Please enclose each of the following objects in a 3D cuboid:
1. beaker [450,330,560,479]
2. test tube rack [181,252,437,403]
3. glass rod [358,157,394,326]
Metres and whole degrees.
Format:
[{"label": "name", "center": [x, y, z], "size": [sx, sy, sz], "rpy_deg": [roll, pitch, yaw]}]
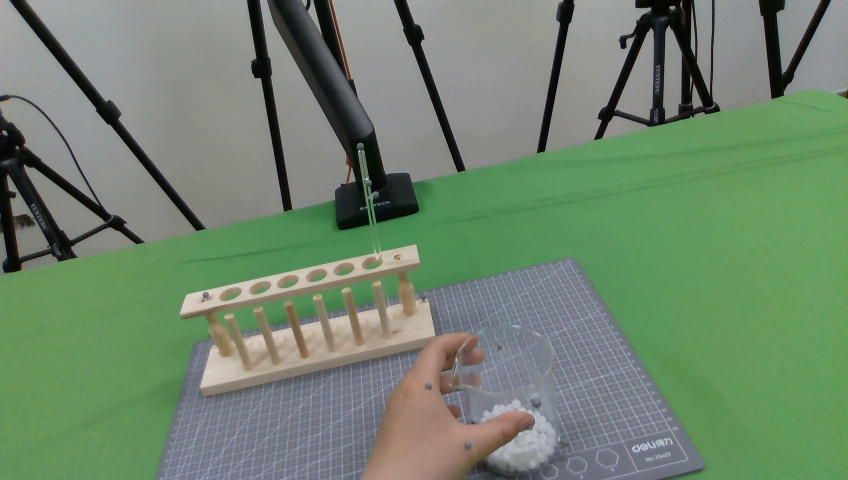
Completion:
[{"label": "beaker", "center": [0.066, 0.134, 0.476], "size": [0.084, 0.101, 0.073], "rpy_deg": [-20, 32, -12]}, {"label": "test tube rack", "center": [-0.116, 0.090, 0.623], "size": [0.242, 0.086, 0.066], "rpy_deg": [-12, 32, -1]}, {"label": "glass rod", "center": [-0.046, 0.009, 0.600], "size": [0.008, 0.201, 0.008], "rpy_deg": [-5, 33, 4]}]
